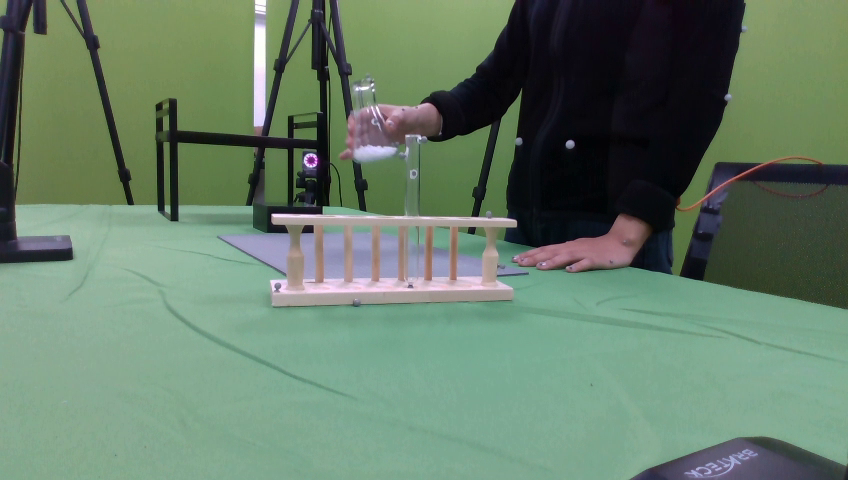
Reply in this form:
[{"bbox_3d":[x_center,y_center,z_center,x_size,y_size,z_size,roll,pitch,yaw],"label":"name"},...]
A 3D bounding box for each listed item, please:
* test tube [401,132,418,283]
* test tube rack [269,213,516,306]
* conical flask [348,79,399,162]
[{"bbox_3d":[-0.014,-0.030,0.596,0.017,0.150,0.017,1,11,0],"label":"test tube"},{"bbox_3d":[-0.032,0.015,0.617,0.243,0.085,0.066,0,7,-17],"label":"test tube rack"},{"bbox_3d":[-0.086,-0.185,0.939,0.075,0.122,0.075,-12,8,2],"label":"conical flask"}]
